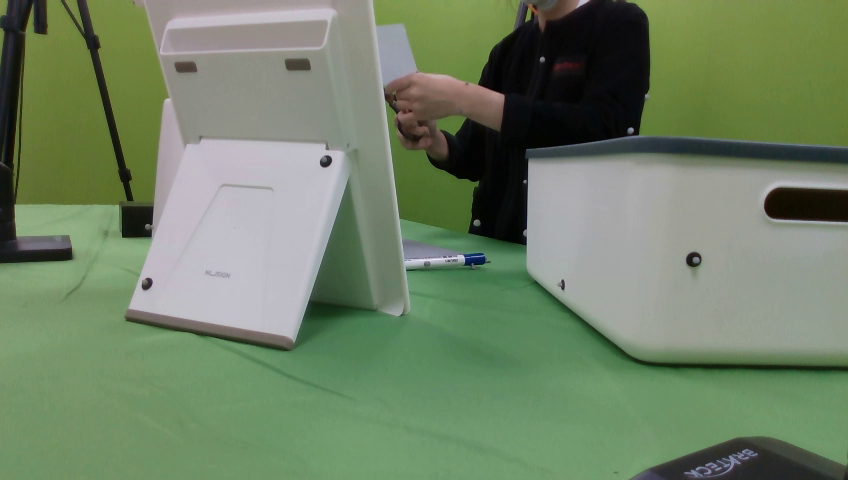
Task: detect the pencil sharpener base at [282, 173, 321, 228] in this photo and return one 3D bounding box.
[{"bbox_3d":[-0.247,-0.080,1.212,0.061,0.107,0.076,-2,5,-28],"label":"pencil sharpener base"}]

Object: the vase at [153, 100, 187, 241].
[{"bbox_3d":[-0.278,-0.066,0.736,0.098,0.200,0.098,2,9,0],"label":"vase"}]

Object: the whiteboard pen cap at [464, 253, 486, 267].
[{"bbox_3d":[0.066,0.027,0.818,0.033,0.018,0.018,-5,10,-24],"label":"whiteboard pen cap"}]

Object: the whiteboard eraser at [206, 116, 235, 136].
[{"bbox_3d":[-0.450,-0.252,1.335,0.056,0.042,0.112,1,7,-22],"label":"whiteboard eraser"}]

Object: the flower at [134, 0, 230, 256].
[{"bbox_3d":[-0.282,-0.147,0.713,0.038,0.362,0.044,-23,24,-31],"label":"flower"}]

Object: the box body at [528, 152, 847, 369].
[{"bbox_3d":[0.258,-0.005,0.591,0.254,0.160,0.363,2,7,-4],"label":"box body"}]

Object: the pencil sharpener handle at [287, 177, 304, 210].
[{"bbox_3d":[-0.269,-0.096,1.257,0.036,0.067,0.030,-8,8,-27],"label":"pencil sharpener handle"}]

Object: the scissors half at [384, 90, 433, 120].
[{"bbox_3d":[-0.051,-0.254,1.051,0.176,0.040,0.013,16,-11,-38],"label":"scissors half"}]

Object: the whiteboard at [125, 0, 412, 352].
[{"bbox_3d":[-0.151,-0.049,0.472,0.216,0.305,0.144,6,27,24],"label":"whiteboard"}]

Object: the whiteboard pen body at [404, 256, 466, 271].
[{"bbox_3d":[0.012,0.030,0.792,0.141,0.017,0.017,-2,9,-25],"label":"whiteboard pen body"}]

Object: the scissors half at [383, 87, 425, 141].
[{"bbox_3d":[-0.059,-0.234,1.045,0.176,0.040,0.012,45,-23,-31],"label":"scissors half"}]

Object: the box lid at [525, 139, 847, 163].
[{"bbox_3d":[0.261,-0.078,0.580,0.264,0.015,0.371,2,7,-4],"label":"box lid"}]

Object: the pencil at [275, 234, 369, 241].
[{"bbox_3d":[-0.169,-0.006,1.036,0.195,0.012,0.012,-2,9,-45],"label":"pencil"}]
